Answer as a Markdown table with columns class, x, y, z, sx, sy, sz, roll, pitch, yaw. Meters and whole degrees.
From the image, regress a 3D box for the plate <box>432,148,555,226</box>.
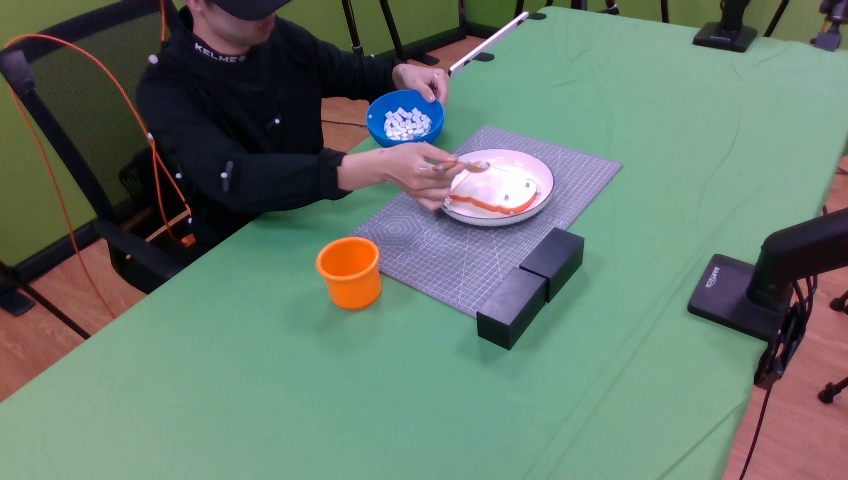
| class | x | y | z | sx | sy | sz | roll | pitch | yaw |
| --- | --- | --- | --- | --- | --- | --- | --- | --- | --- |
| plate | 0.119 | -0.087 | 1.037 | 0.209 | 0.038 | 0.208 | -4 | 40 | 4 |

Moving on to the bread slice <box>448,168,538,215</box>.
| class | x | y | z | sx | sy | sz | roll | pitch | yaw |
| --- | --- | --- | --- | --- | --- | --- | --- | --- | --- |
| bread slice | 0.126 | -0.085 | 1.037 | 0.133 | 0.018 | 0.107 | 17 | 45 | 27 |

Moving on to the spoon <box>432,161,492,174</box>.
| class | x | y | z | sx | sy | sz | roll | pitch | yaw |
| --- | --- | --- | --- | --- | --- | --- | --- | --- | --- |
| spoon | 0.058 | -0.116 | 0.951 | 0.041 | 0.021 | 0.195 | 11 | 9 | 27 |

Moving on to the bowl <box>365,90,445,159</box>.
| class | x | y | z | sx | sy | sz | roll | pitch | yaw |
| --- | --- | --- | --- | --- | --- | --- | --- | --- | --- |
| bowl | -0.034 | -0.211 | 1.160 | 0.151 | 0.077 | 0.150 | -2 | 51 | 3 |
